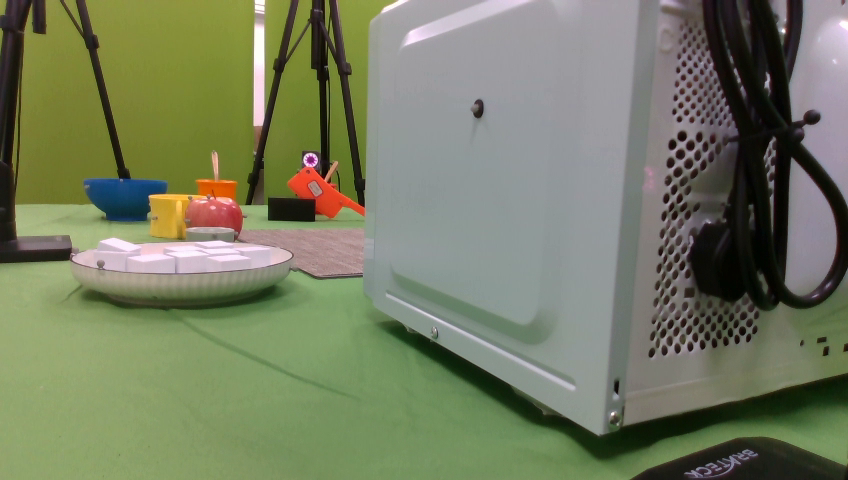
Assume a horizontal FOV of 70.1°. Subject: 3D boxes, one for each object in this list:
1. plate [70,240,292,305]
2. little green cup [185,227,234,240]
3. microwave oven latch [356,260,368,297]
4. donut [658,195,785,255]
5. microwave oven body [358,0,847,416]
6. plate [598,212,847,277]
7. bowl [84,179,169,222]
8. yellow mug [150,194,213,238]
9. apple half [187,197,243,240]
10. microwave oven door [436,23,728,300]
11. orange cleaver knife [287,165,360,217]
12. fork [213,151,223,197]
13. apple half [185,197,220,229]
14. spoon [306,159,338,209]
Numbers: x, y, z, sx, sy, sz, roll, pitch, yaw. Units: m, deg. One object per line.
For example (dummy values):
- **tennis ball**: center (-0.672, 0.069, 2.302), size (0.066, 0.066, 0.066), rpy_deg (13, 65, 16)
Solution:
- **plate**: center (-0.242, 0.031, 0.618), size (0.208, 0.039, 0.207), rpy_deg (2, 8, 0)
- **little green cup**: center (-0.285, 0.005, 0.805), size (0.061, 0.038, 0.061), rpy_deg (2, 8, 0)
- **microwave oven latch**: center (-0.020, 0.033, 0.531), size (0.079, 0.029, 0.030), rpy_deg (-1, 7, -27)
- **donut**: center (0.252, -0.012, 0.517), size (0.099, 0.048, 0.099), rpy_deg (4, 8, 0)
- **microwave oven body**: center (0.211, -0.047, 0.475), size (0.444, 0.260, 0.324), rpy_deg (-1, 8, -28)
- **plate**: center (0.255, 0.001, 0.519), size (0.209, 0.038, 0.209), rpy_deg (2, 6, 0)
- **bowl**: center (-0.584, -0.078, 1.194), size (0.151, 0.077, 0.151), rpy_deg (3, 8, 0)
- **yellow mug**: center (-0.401, -0.040, 1.003), size (0.100, 0.064, 0.130), rpy_deg (-1, 9, -20)
- **apple half**: center (-0.305, -0.026, 0.907), size (0.053, 0.074, 0.081), rpy_deg (12, 8, 31)
- **microwave oven door**: center (0.180, -0.072, 0.621), size (0.358, 0.243, 0.039), rpy_deg (-2, 9, -29)
- **orange cleaver knife**: center (-0.211, -0.093, 1.382), size (0.212, 0.077, 0.012), rpy_deg (33, 1, -15)
- **fork**: center (-0.494, -0.143, 1.442), size (0.028, 0.018, 0.206), rpy_deg (-2, 52, -20)
- **apple half**: center (-0.338, -0.031, 0.927), size (0.032, 0.081, 0.081), rpy_deg (12, 12, 31)
- **spoon**: center (-0.257, -0.147, 1.567), size (0.041, 0.022, 0.193), rpy_deg (2, 51, 20)
